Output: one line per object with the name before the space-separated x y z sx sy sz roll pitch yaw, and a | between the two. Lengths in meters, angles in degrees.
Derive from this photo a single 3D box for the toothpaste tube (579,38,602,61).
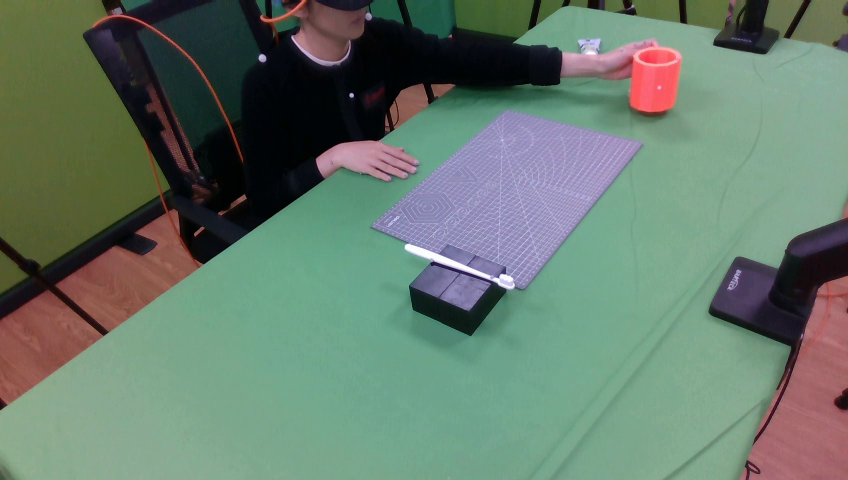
toothpaste tube | 0.398 -0.449 1.433 0.055 0.034 0.164 6 38 8

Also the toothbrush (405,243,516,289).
toothbrush | 0.048 0.034 0.859 0.180 0.017 0.014 19 51 28

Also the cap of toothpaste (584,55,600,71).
cap of toothpaste | 0.381 -0.403 1.372 0.037 0.037 0.011 1 38 10

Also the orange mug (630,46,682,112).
orange mug | 0.453 -0.327 1.197 0.083 0.101 0.125 -2 44 9
